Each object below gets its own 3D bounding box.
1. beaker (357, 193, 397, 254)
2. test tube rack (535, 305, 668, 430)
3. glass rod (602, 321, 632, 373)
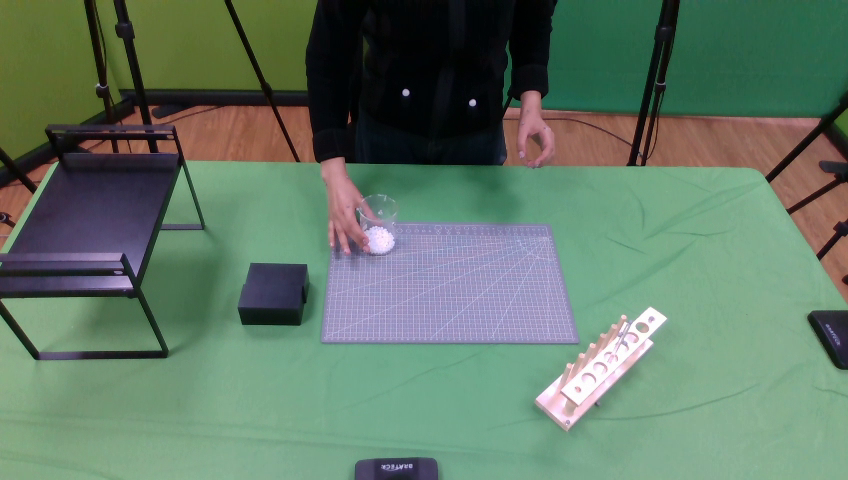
[{"bbox_3d":[-0.088,-0.030,1.159,0.074,0.101,0.083,14,47,9],"label":"beaker"},{"bbox_3d":[0.290,0.193,0.984,0.242,0.085,0.066,-32,57,-30],"label":"test tube rack"},{"bbox_3d":[0.286,0.173,0.913,0.008,0.201,0.008,-1,53,1],"label":"glass rod"}]
